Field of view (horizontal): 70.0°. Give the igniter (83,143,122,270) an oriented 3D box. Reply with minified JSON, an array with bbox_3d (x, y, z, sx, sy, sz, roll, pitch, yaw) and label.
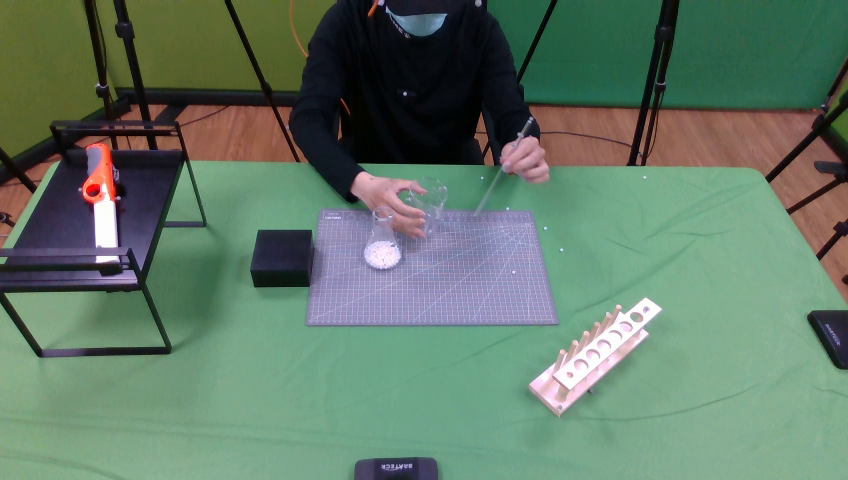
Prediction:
[{"bbox_3d":[-0.508,-0.063,0.962,0.057,0.025,0.274,-14,53,-18],"label":"igniter"}]

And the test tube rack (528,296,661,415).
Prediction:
[{"bbox_3d":[0.285,0.178,1.005,0.242,0.085,0.066,-31,55,-29],"label":"test tube rack"}]

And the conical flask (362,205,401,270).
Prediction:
[{"bbox_3d":[-0.078,-0.008,1.127,0.075,0.122,0.075,2,46,-2],"label":"conical flask"}]

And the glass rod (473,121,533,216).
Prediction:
[{"bbox_3d":[0.139,-0.126,1.084,0.008,0.200,0.008,27,20,-10],"label":"glass rod"}]

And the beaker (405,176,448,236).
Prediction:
[{"bbox_3d":[0.004,-0.061,1.185,0.074,0.100,0.083,-20,58,-25],"label":"beaker"}]
